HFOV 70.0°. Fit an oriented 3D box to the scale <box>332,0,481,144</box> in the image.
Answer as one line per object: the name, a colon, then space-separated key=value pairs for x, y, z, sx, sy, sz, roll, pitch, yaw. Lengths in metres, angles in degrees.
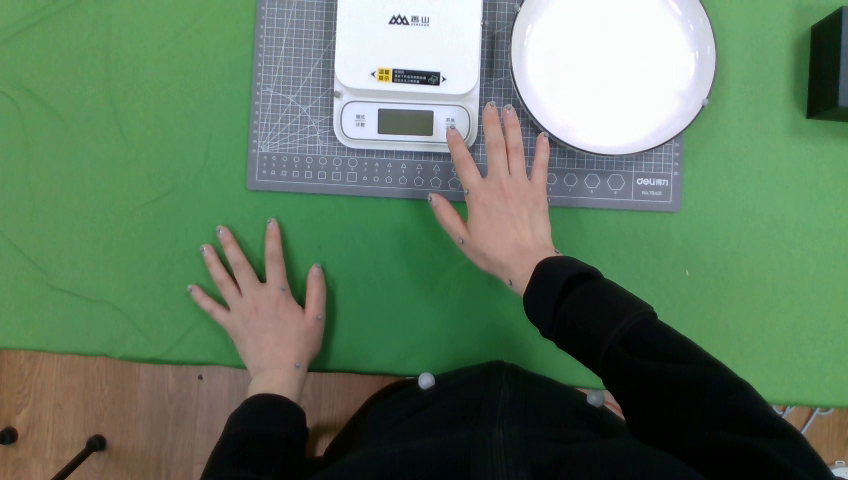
scale: x=-0.017 y=-0.201 z=0.617 sx=0.149 sy=0.031 sz=0.200 roll=2 pitch=89 yaw=0

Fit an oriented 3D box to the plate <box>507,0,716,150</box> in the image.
plate: x=0.187 y=-0.192 z=0.616 sx=0.209 sy=0.038 sz=0.209 roll=0 pitch=88 yaw=-1
